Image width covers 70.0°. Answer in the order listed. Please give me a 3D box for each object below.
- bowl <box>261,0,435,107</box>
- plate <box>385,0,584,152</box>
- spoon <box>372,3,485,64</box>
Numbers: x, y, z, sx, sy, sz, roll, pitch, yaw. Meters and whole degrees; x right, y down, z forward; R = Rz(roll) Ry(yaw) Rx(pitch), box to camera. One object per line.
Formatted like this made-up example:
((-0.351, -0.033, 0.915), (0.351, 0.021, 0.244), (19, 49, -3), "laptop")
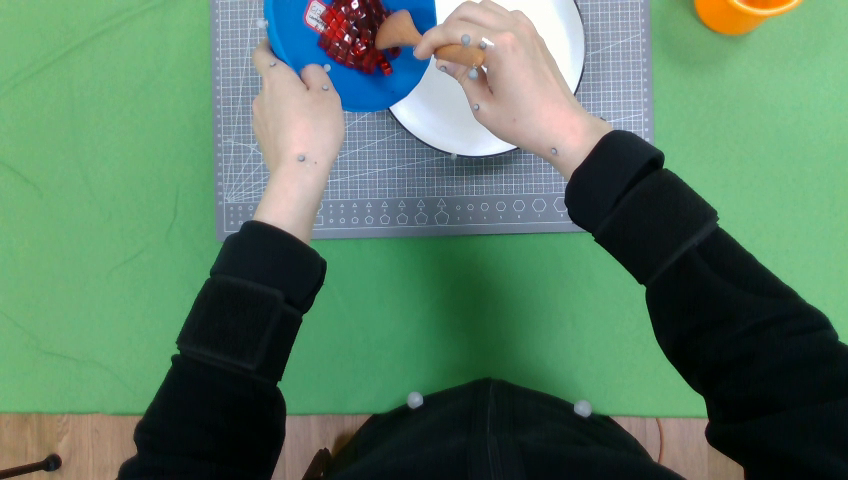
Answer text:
((-0.074, -0.189, 0.508), (0.152, 0.076, 0.152), (-10, 108, -34), "bowl")
((0.051, -0.189, 0.600), (0.209, 0.038, 0.209), (0, 90, 3), "plate")
((0.000, -0.154, 0.456), (0.041, 0.191, 0.022), (-50, 127, 3), "spoon")
